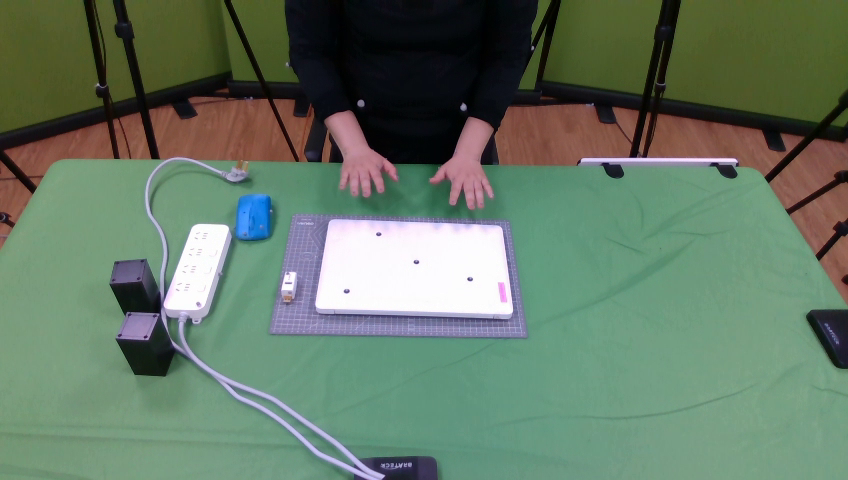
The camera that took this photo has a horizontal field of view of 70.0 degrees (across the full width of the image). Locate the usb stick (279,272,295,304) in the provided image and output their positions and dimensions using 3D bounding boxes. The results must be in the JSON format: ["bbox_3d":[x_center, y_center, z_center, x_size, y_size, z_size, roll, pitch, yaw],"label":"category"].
[{"bbox_3d":[-0.246,0.088,1.085,0.021,0.027,0.059,5,47,-5],"label":"usb stick"}]

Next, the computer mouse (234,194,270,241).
[{"bbox_3d":[-0.341,-0.049,1.208,0.063,0.041,0.116,0,50,-8],"label":"computer mouse"}]

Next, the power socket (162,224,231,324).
[{"bbox_3d":[-0.411,0.052,1.106,0.072,0.033,0.225,3,46,-3],"label":"power socket"}]

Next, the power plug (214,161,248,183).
[{"bbox_3d":[-0.409,-0.150,1.287,0.072,0.053,0.035,23,10,-7],"label":"power plug"}]

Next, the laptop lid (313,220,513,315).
[{"bbox_3d":[-0.017,0.045,1.138,0.357,0.013,0.240,3,43,-1],"label":"laptop lid"}]

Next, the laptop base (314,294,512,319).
[{"bbox_3d":[-0.018,0.055,1.144,0.354,0.023,0.234,2,42,-2],"label":"laptop base"}]
